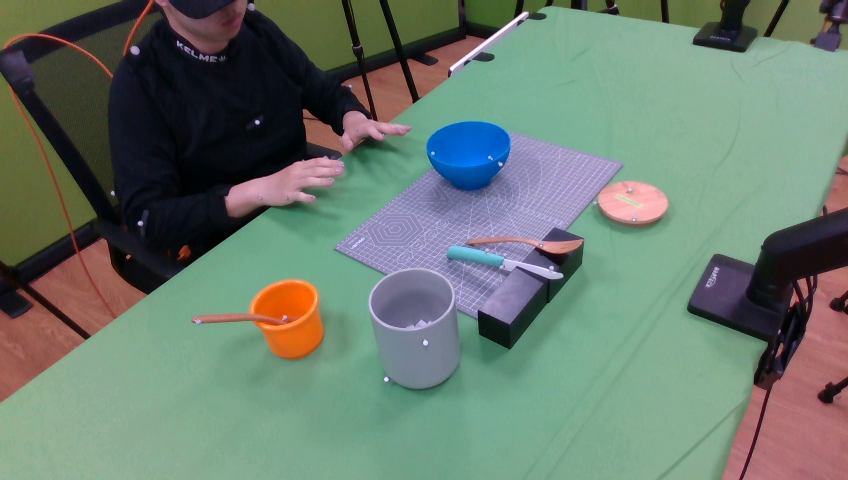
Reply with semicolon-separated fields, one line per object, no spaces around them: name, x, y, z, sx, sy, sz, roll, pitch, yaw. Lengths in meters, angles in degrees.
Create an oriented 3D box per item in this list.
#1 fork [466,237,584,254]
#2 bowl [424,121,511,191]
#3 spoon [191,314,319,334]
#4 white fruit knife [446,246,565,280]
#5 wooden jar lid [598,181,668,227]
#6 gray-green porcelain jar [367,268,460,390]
fork;0.142;0.005;0.894;0.205;0.019;0.028;4;43;41
bowl;0.080;-0.141;1.074;0.151;0.077;0.150;-4;40;4
spoon;-0.212;0.105;0.780;0.041;0.195;0.021;30;97;37
white fruit knife;0.111;0.033;0.868;0.205;0.027;0.016;11;44;40
wooden jar lid;0.340;-0.058;0.989;0.108;0.021;0.108;-5;41;5
gray-green porcelain jar;-0.009;0.116;0.754;0.106;0.127;0.105;-4;41;4
